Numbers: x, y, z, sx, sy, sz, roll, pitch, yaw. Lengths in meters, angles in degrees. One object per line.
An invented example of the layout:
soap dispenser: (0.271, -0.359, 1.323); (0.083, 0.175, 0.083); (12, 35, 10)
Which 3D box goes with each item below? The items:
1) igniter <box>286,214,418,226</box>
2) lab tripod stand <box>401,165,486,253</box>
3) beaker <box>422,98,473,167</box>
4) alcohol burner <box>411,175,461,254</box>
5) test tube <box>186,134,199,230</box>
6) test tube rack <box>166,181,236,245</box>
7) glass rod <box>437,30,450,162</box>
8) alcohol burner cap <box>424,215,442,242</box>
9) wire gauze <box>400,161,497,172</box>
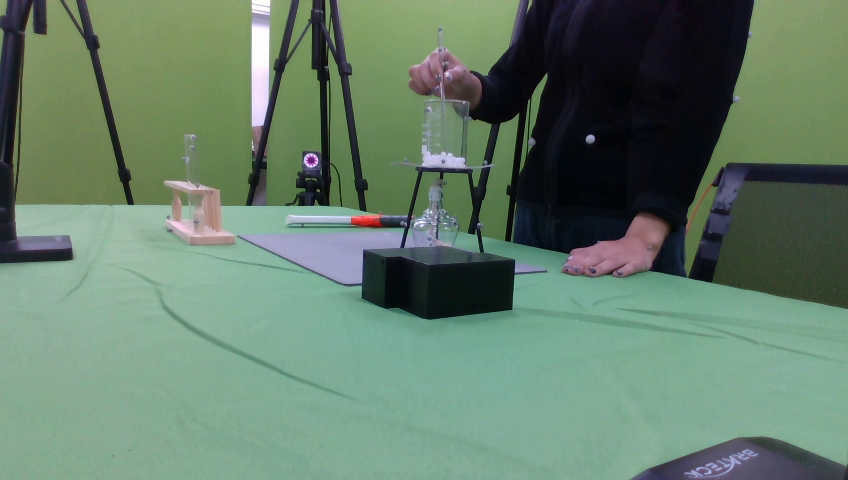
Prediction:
igniter: (-0.145, -0.043, 1.263); (0.278, 0.025, 0.057); (-1, -2, -25)
lab tripod stand: (0.028, -0.049, 0.930); (0.148, 0.131, 0.148); (2, 9, 0)
beaker: (0.031, -0.162, 0.919); (0.074, 0.100, 0.083); (-4, 9, -36)
alcohol burner: (0.018, -0.040, 0.931); (0.078, 0.119, 0.078); (0, 7, 0)
test tube: (-0.360, -0.089, 0.946); (0.017, 0.150, 0.017); (0, 10, 0)
test tube rack: (-0.383, -0.051, 1.024); (0.067, 0.085, 0.241); (-2, 9, -31)
glass rod: (0.030, -0.215, 0.905); (0.008, 0.199, 0.008); (-4, -1, 0)
alcohol burner cap: (0.017, -0.022, 1.098); (0.034, 0.048, 0.034); (2, 9, 0)
wire gauze: (0.028, -0.114, 0.920); (0.122, 0.011, 0.124); (-5, 13, -34)
